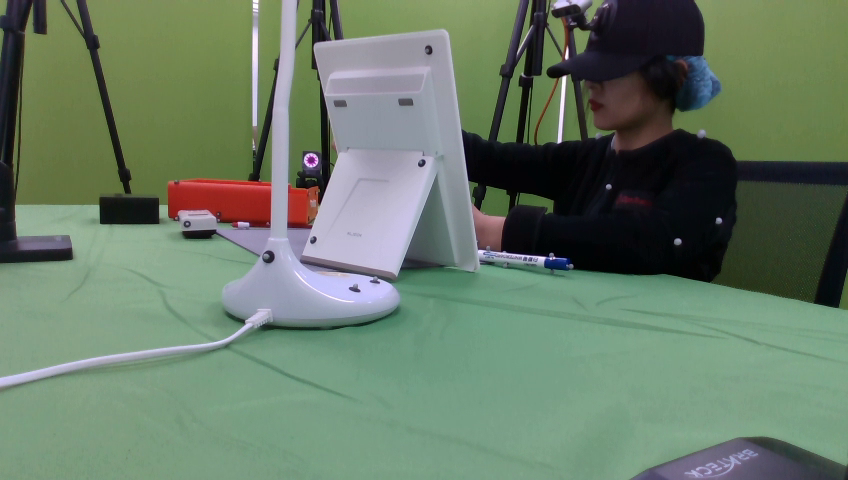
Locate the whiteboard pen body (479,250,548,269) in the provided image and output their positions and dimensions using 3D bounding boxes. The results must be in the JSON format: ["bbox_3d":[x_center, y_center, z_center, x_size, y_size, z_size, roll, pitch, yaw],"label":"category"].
[{"bbox_3d":[0.130,0.028,0.827,0.140,0.017,0.017,6,8,39],"label":"whiteboard pen body"}]

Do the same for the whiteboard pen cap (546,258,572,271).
[{"bbox_3d":[0.175,0.032,0.790,0.033,0.018,0.018,3,6,37],"label":"whiteboard pen cap"}]

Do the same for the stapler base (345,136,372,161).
[{"bbox_3d":[-0.110,-0.166,1.061,0.024,0.041,0.130,-33,19,-9],"label":"stapler base"}]

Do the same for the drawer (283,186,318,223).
[{"bbox_3d":[-0.342,-0.083,1.309,0.212,0.073,0.194,2,8,-4],"label":"drawer"}]

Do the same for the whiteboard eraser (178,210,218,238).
[{"bbox_3d":[-0.380,-0.027,1.014,0.056,0.042,0.112,0,8,-25],"label":"whiteboard eraser"}]

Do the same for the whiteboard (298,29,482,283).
[{"bbox_3d":[-0.075,-0.082,0.742,0.216,0.305,0.144,9,29,37],"label":"whiteboard"}]

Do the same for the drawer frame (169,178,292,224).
[{"bbox_3d":[-0.406,-0.087,1.304,0.214,0.082,0.201,1,8,-5],"label":"drawer frame"}]

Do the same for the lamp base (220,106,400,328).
[{"bbox_3d":[-0.101,-0.023,0.531,0.160,0.180,0.179,4,10,10],"label":"lamp base"}]

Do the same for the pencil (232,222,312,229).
[{"bbox_3d":[-0.261,-0.025,1.140,0.195,0.012,0.012,2,7,-26],"label":"pencil"}]

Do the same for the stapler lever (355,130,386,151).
[{"bbox_3d":[-0.094,-0.177,1.064,0.040,0.027,0.117,-31,19,-4],"label":"stapler lever"}]
